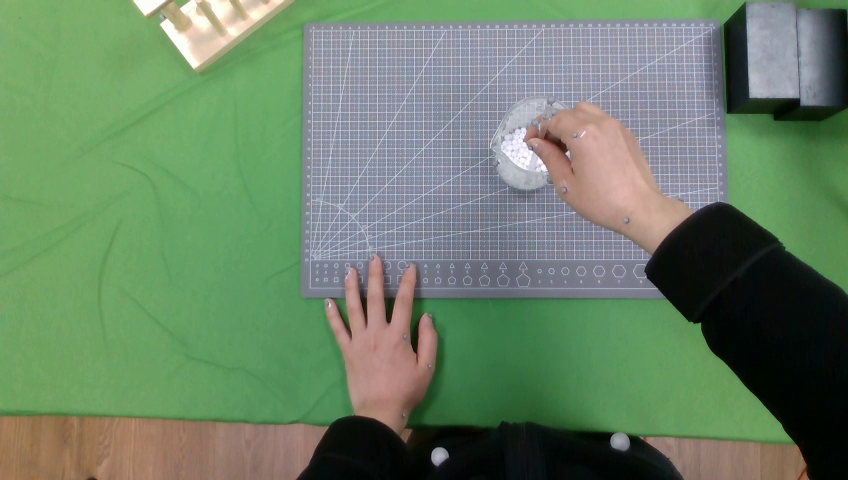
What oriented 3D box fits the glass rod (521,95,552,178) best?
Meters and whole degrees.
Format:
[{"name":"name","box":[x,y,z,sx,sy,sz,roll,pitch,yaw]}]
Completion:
[{"name":"glass rod","box":[0.099,-0.087,0.544,0.008,0.200,0.008,-1,80,4]}]

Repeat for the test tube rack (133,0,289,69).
[{"name":"test tube rack","box":[-0.175,-0.290,0.628,0.242,0.085,0.066,-38,85,-2]}]

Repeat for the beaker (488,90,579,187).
[{"name":"beaker","box":[0.102,-0.093,0.598,0.084,0.100,0.074,-11,84,1]}]
